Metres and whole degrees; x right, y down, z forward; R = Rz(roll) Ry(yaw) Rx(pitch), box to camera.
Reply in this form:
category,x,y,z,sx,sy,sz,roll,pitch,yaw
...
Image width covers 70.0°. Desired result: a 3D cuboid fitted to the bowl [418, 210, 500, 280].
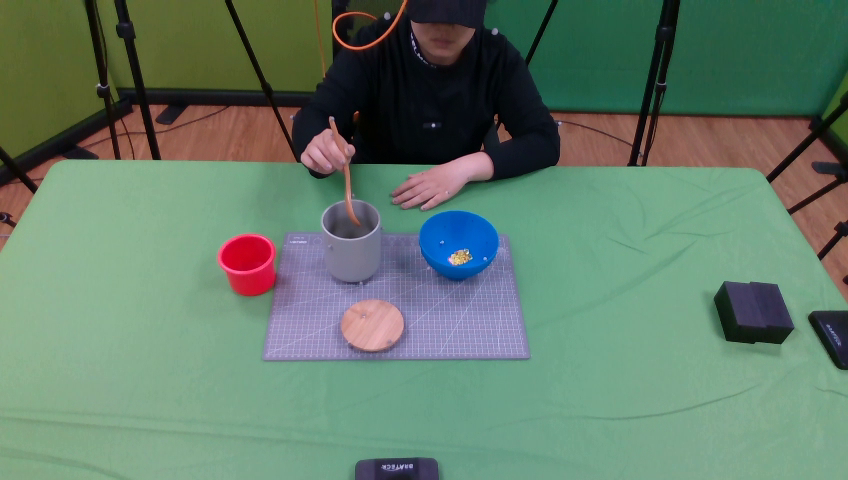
category,x,y,z,sx,sy,sz,roll,pitch,yaw
bowl,0.062,0.022,1.140,0.151,0.077,0.150,2,46,-2

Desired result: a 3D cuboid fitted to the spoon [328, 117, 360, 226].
category,x,y,z,sx,sy,sz,roll,pitch,yaw
spoon,-0.135,-0.114,1.032,0.021,0.194,0.041,-11,16,-9

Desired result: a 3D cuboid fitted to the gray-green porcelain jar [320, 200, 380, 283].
category,x,y,z,sx,sy,sz,roll,pitch,yaw
gray-green porcelain jar,-0.133,0.007,1.106,0.106,0.127,0.105,2,46,-2

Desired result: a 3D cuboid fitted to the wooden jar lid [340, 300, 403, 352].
category,x,y,z,sx,sy,sz,roll,pitch,yaw
wooden jar lid,-0.090,0.150,1.046,0.108,0.021,0.107,3,47,-3
